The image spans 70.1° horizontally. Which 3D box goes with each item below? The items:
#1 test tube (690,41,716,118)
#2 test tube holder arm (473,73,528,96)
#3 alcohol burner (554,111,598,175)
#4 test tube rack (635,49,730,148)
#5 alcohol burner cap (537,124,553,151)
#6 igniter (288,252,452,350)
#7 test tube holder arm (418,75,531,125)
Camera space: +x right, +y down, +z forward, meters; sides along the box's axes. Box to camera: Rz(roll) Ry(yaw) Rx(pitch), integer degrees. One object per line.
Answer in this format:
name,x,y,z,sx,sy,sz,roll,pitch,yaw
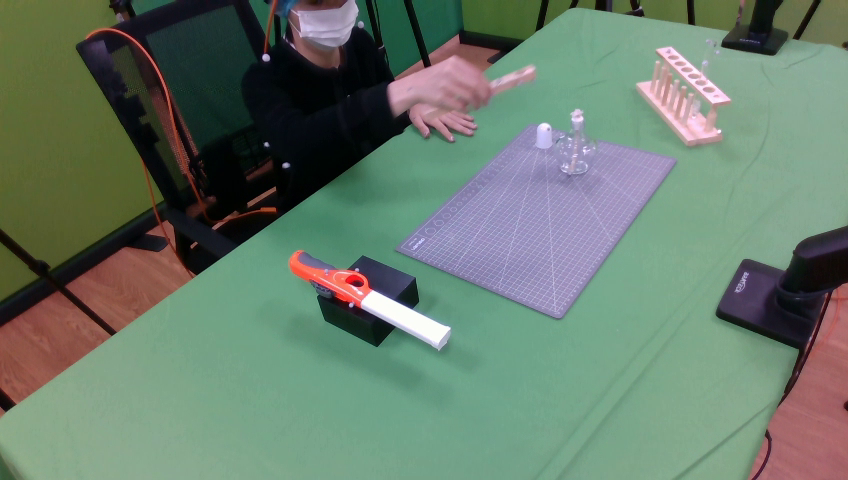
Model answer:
test tube,0.514,-0.293,1.117,0.017,0.151,0.017,-3,42,3
test tube holder arm,0.117,-0.232,0.922,0.088,0.015,0.010,-21,40,1
alcohol burner,0.270,-0.175,1.066,0.078,0.119,0.077,-4,42,4
test tube rack,0.497,-0.283,1.185,0.067,0.085,0.240,-10,40,-2
alcohol burner cap,0.232,-0.199,1.158,0.034,0.048,0.033,-5,40,5
igniter,-0.084,0.077,0.821,0.274,0.025,0.057,23,48,27
test tube holder arm,0.076,-0.213,0.919,0.178,0.015,0.013,-21,40,2
